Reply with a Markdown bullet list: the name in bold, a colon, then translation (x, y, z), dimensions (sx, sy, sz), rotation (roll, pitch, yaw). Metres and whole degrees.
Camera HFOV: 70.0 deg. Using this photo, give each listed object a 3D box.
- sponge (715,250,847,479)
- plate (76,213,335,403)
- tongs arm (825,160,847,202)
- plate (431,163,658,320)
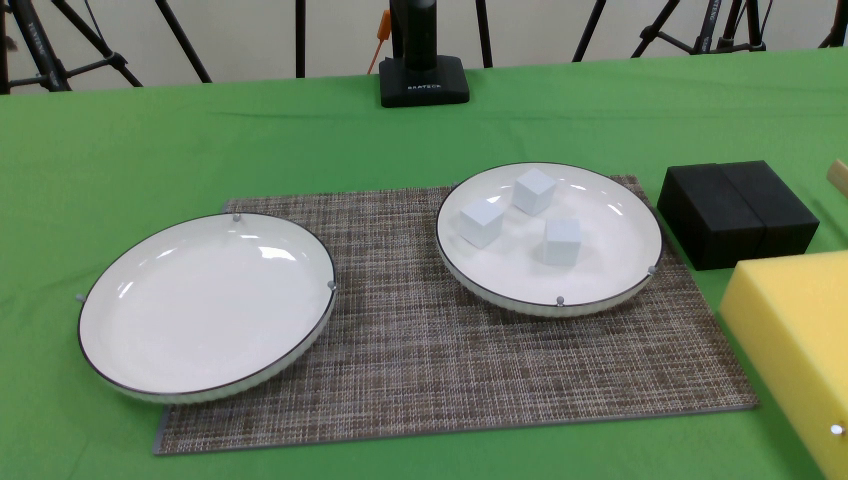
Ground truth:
- **sponge**: translation (0.325, 0.101, 0.444), dimensions (0.118, 0.061, 0.204), rotation (-7, 42, -5)
- **plate**: translation (-0.179, 0.055, 0.520), dimensions (0.209, 0.038, 0.207), rotation (0, 41, 1)
- **tongs arm**: translation (0.443, 0.043, 0.483), dimensions (0.028, 0.028, 0.383), rotation (-2, 38, -5)
- **plate**: translation (0.110, 0.001, 0.574), dimensions (0.208, 0.039, 0.205), rotation (0, 42, 1)
